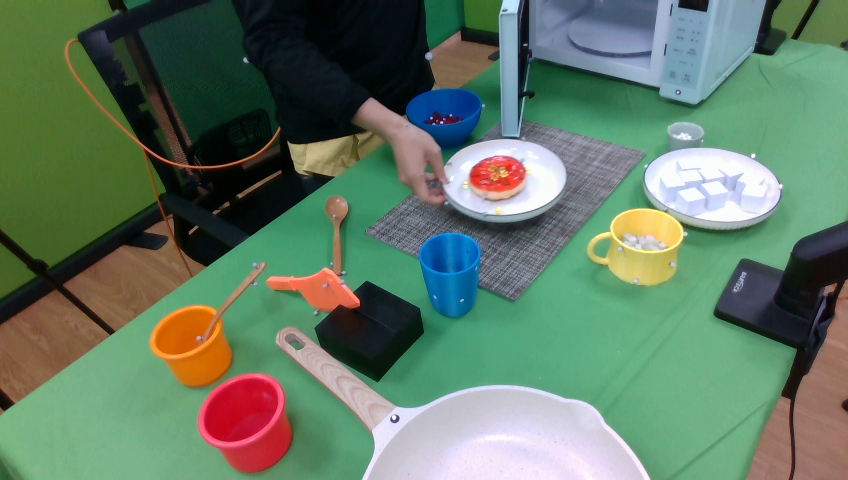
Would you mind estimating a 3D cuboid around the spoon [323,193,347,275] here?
[{"bbox_3d":[-0.148,-0.014,1.008,0.042,0.022,0.192,0,40,-8],"label":"spoon"}]

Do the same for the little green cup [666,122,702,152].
[{"bbox_3d":[0.471,-0.184,1.102,0.061,0.039,0.061,-5,41,5],"label":"little green cup"}]

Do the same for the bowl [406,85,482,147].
[{"bbox_3d":[0.042,-0.237,1.197,0.151,0.077,0.150,-4,41,4],"label":"bowl"}]

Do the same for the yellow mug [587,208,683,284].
[{"bbox_3d":[0.305,0.009,0.884,0.131,0.064,0.099,-4,41,5],"label":"yellow mug"}]

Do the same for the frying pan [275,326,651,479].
[{"bbox_3d":[0.004,0.229,0.641,0.484,0.103,0.308,34,54,28],"label":"frying pan"}]

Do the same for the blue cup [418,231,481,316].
[{"bbox_3d":[0.040,0.053,0.843,0.092,0.100,0.092,-4,43,4],"label":"blue cup"}]

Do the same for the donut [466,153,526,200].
[{"bbox_3d":[0.118,-0.107,0.992,0.099,0.048,0.098,-4,42,4],"label":"donut"}]

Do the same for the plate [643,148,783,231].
[{"bbox_3d":[0.464,-0.080,0.985,0.207,0.039,0.206,-4,41,4],"label":"plate"}]

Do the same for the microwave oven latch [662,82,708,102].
[{"bbox_3d":[0.517,-0.298,1.202,0.078,0.029,0.030,27,52,34],"label":"microwave oven latch"}]

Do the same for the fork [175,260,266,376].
[{"bbox_3d":[-0.268,0.103,0.792,0.207,0.019,0.028,-51,41,17],"label":"fork"}]

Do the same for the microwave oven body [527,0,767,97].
[{"bbox_3d":[0.473,-0.516,1.313,0.438,0.261,0.327,26,51,34],"label":"microwave oven body"}]

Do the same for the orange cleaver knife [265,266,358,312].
[{"bbox_3d":[-0.164,0.073,0.864,0.210,0.077,0.012,-6,31,50],"label":"orange cleaver knife"}]

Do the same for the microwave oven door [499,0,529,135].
[{"bbox_3d":[0.186,-0.410,1.224,0.039,0.245,0.355,2,42,12],"label":"microwave oven door"}]

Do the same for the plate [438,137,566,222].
[{"bbox_3d":[0.128,-0.097,0.997,0.209,0.038,0.208,-3,43,3],"label":"plate"}]
